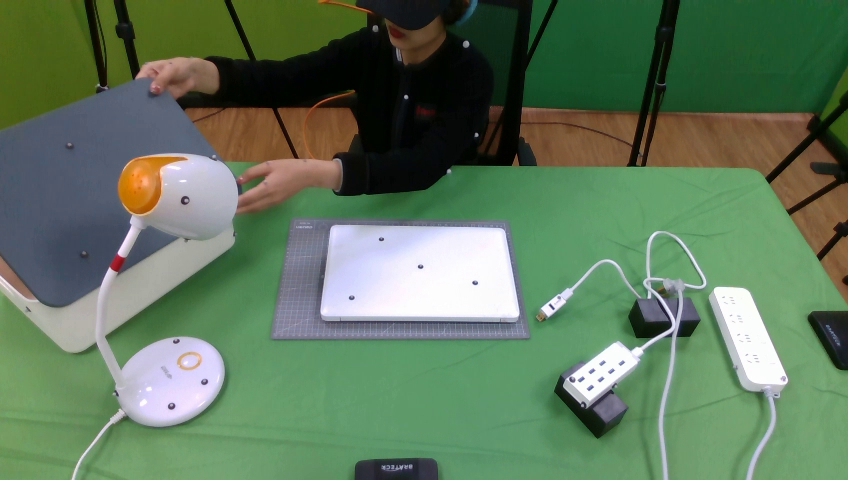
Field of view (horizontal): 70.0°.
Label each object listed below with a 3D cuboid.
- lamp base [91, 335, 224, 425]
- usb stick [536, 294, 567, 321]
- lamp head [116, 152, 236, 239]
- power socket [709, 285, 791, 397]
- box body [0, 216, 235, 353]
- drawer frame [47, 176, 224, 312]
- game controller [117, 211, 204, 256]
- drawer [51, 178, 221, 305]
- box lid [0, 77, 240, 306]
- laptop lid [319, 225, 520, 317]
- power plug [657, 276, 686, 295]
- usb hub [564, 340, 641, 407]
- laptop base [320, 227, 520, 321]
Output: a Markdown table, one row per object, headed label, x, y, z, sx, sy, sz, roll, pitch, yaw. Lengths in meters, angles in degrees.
| label | x | y | z | sx | sy | sz | roll | pitch | yaw |
| --- | --- | --- | --- | --- | --- | --- | --- | --- | --- |
| lamp base | -0.401 | 0.170 | 0.892 | 0.160 | 0.181 | 0.179 | 30 | 53 | 23 |
| usb stick | 0.226 | 0.123 | 1.083 | 0.059 | 0.027 | 0.021 | -37 | 78 | -8 |
| lamp head | -0.315 | -0.057 | 0.748 | 0.112 | 0.112 | 0.123 | 26 | 10 | 20 |
| power socket | 0.567 | 0.168 | 1.064 | 0.072 | 0.033 | 0.225 | 2 | 46 | 0 |
| box body | -0.550 | -0.006 | 1.068 | 0.253 | 0.161 | 0.363 | 30 | 51 | 23 |
| drawer frame | -0.518 | 0.001 | 1.105 | 0.201 | 0.083 | 0.213 | 25 | 51 | 21 |
| game controller | -0.500 | -0.018 | 1.142 | 0.154 | 0.051 | 0.097 | 23 | 20 | 19 |
| drawer | -0.520 | -0.003 | 1.106 | 0.194 | 0.073 | 0.211 | 25 | 50 | 23 |
| box lid | -0.492 | -0.094 | 0.943 | 0.263 | 0.015 | 0.371 | 53 | 48 | -7 |
| laptop lid | -0.008 | 0.052 | 1.131 | 0.357 | 0.013 | 0.240 | 2 | 43 | -2 |
| power plug | 0.450 | 0.087 | 1.113 | 0.073 | 0.052 | 0.035 | -13 | 72 | -55 |
| usb hub | 0.278 | 0.205 | 0.944 | 0.125 | 0.025 | 0.049 | -27 | 52 | -28 |
| laptop base | -0.009 | 0.062 | 1.138 | 0.354 | 0.023 | 0.234 | 1 | 42 | -3 |
